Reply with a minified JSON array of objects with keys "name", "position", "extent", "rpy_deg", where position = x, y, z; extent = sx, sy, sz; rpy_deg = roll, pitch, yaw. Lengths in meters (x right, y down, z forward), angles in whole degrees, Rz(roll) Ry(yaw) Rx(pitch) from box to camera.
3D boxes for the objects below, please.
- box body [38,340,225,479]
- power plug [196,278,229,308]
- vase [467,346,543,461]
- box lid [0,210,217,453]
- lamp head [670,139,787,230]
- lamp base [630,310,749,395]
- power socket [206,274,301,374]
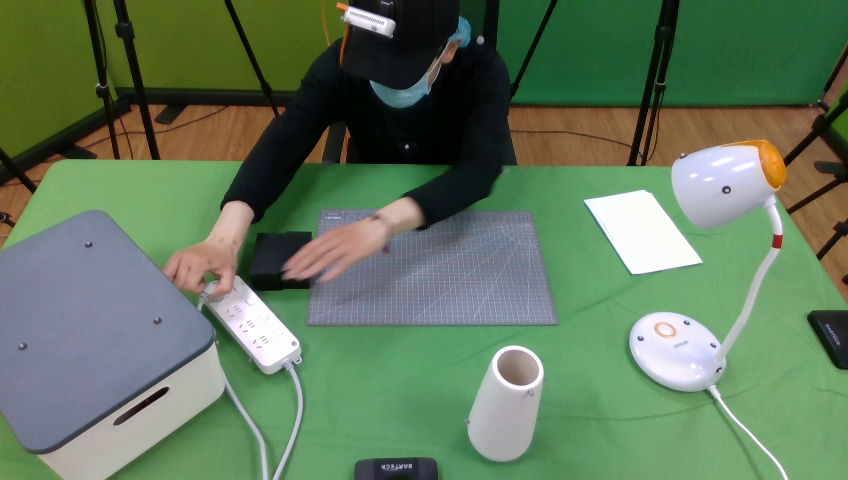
[{"name":"box body","position":[-0.504,0.154,0.917],"extent":[0.362,0.161,0.254],"rpy_deg":[36,54,27]},{"name":"power plug","position":[-0.363,0.094,1.027],"extent":[0.035,0.053,0.072],"rpy_deg":[38,68,20]},{"name":"vase","position":[0.116,0.235,0.861],"extent":[0.098,0.201,0.097],"rpy_deg":[1,47,-1]},{"name":"box lid","position":[-0.502,0.102,0.865],"extent":[0.369,0.015,0.263],"rpy_deg":[36,54,27]},{"name":"lamp head","position":[0.415,-0.079,0.812],"extent":[0.113,0.123,0.112],"rpy_deg":[13,70,-37]},{"name":"lamp base","position":[0.447,0.142,0.984],"extent":[0.161,0.181,0.178],"rpy_deg":[-24,55,-24]},{"name":"power socket","position":[-0.296,0.140,1.035],"extent":[0.072,0.033,0.225],"rpy_deg":[-32,57,-29]}]
